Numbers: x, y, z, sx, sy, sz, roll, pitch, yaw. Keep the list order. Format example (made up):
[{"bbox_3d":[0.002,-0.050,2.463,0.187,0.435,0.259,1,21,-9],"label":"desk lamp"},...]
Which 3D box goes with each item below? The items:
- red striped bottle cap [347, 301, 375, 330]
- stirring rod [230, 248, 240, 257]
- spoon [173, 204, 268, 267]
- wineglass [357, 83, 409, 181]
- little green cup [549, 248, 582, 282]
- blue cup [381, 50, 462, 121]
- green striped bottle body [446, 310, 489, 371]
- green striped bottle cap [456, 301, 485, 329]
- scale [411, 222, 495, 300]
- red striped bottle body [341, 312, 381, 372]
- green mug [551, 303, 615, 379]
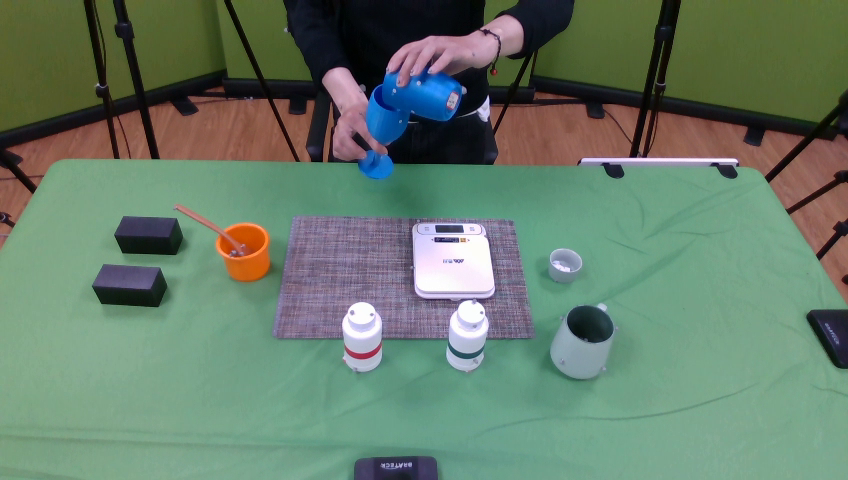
[{"bbox_3d":[-0.097,0.116,0.934,0.044,0.018,0.044,2,49,-3],"label":"red striped bottle cap"},{"bbox_3d":[-0.330,0.023,1.059,0.014,0.176,0.006,33,79,-11],"label":"stirring rod"},{"bbox_3d":[-0.363,-0.009,1.089,0.021,0.195,0.041,-35,31,23],"label":"spoon"},{"bbox_3d":[-0.071,-0.182,1.026,0.074,0.173,0.073,7,57,-10],"label":"wineglass"},{"bbox_3d":[0.268,0.050,1.156,0.061,0.039,0.061,2,46,-1],"label":"little green cup"},{"bbox_3d":[0.001,-0.227,0.914,0.100,0.093,0.092,30,51,18],"label":"blue cup"},{"bbox_3d":[0.070,0.155,0.984,0.063,0.120,0.063,2,46,-2],"label":"green striped bottle body"},{"bbox_3d":[0.073,0.116,0.943,0.044,0.020,0.044,3,46,-3],"label":"green striped bottle cap"},{"bbox_3d":[0.052,0.031,1.158,0.149,0.032,0.199,1,46,-4],"label":"scale"},{"bbox_3d":[-0.100,0.154,0.972,0.063,0.120,0.062,2,46,-2],"label":"red striped bottle body"},{"bbox_3d":[0.271,0.157,1.007,0.092,0.105,0.125,27,50,21],"label":"green mug"}]
